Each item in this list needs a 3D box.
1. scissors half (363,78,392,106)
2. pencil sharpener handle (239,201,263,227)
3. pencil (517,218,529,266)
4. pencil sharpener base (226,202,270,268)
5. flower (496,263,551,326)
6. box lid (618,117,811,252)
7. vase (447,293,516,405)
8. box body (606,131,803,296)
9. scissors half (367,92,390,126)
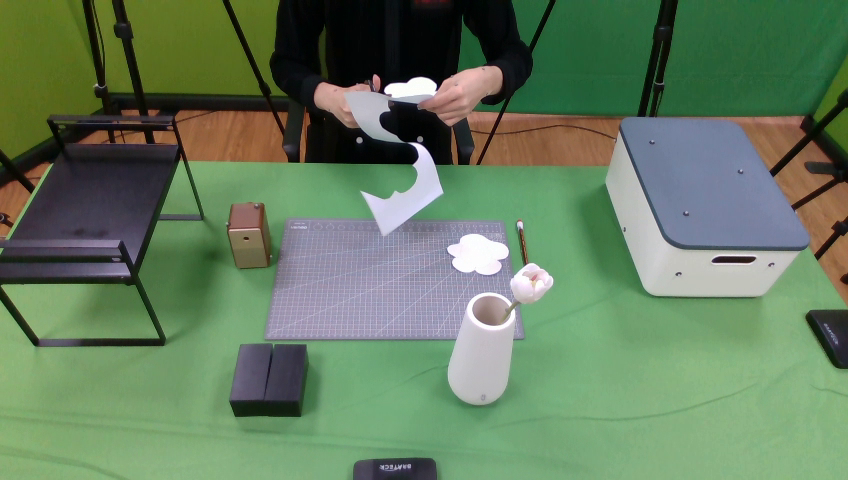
[{"bbox_3d":[-0.083,-0.257,1.072,0.013,0.040,0.174,-15,27,-14],"label":"scissors half"},{"bbox_3d":[-0.325,-0.056,1.149,0.036,0.068,0.030,-14,46,4],"label":"pencil sharpener handle"},{"bbox_3d":[0.200,0.027,1.196,0.012,0.012,0.193,1,48,-3],"label":"pencil"},{"bbox_3d":[-0.323,-0.010,1.123,0.061,0.107,0.076,-3,46,-7],"label":"pencil sharpener base"},{"bbox_3d":[0.102,0.120,0.853,0.044,0.363,0.038,-2,64,-10],"label":"flower"},{"bbox_3d":[0.534,-0.117,1.149,0.263,0.015,0.369,0,47,-3],"label":"box lid"},{"bbox_3d":[0.091,0.169,0.921,0.098,0.201,0.097,3,47,-3],"label":"vase"},{"bbox_3d":[0.530,-0.067,1.204,0.254,0.161,0.361,0,46,-4],"label":"box body"},{"bbox_3d":[-0.079,-0.236,1.076,0.013,0.175,0.040,-10,88,-15],"label":"scissors half"}]
